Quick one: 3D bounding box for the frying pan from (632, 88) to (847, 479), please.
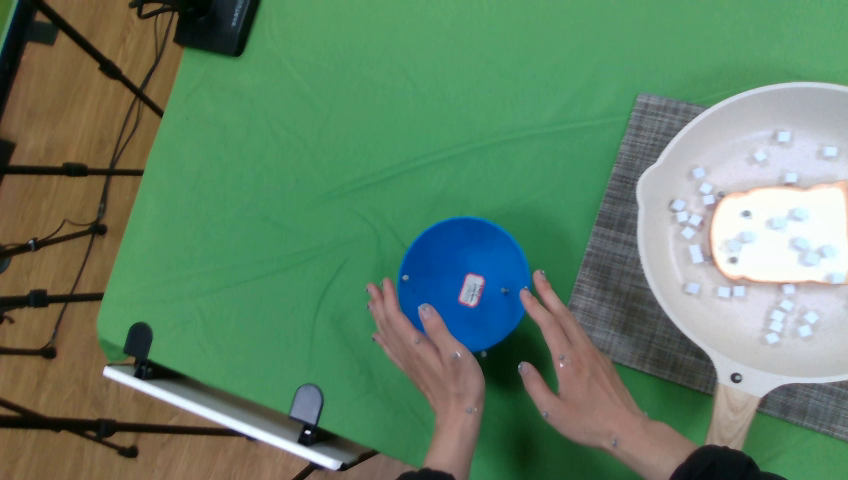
[{"bbox_3d":[0.323,0.091,0.592,0.305,0.103,0.486,20,80,18],"label":"frying pan"}]

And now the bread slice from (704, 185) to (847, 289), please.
[{"bbox_3d":[0.366,0.002,0.634,0.134,0.018,0.106,-4,81,13],"label":"bread slice"}]

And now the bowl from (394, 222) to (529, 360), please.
[{"bbox_3d":[0.049,0.060,0.692,0.151,0.077,0.151,-2,82,15],"label":"bowl"}]
